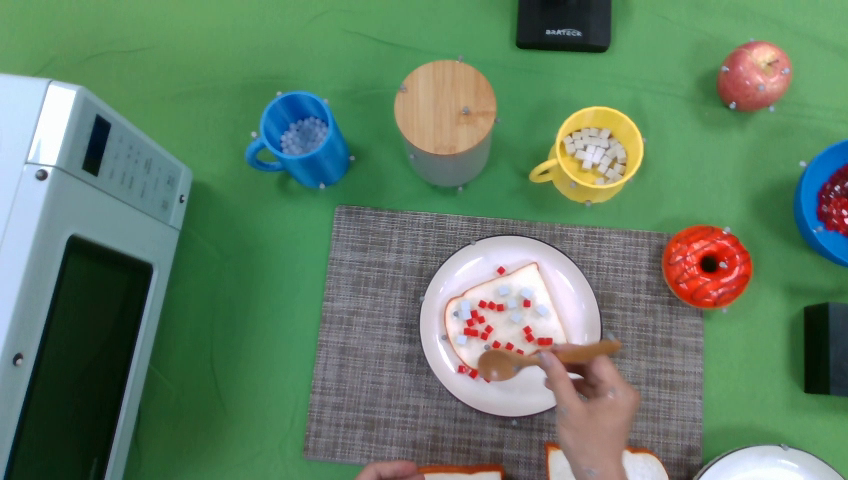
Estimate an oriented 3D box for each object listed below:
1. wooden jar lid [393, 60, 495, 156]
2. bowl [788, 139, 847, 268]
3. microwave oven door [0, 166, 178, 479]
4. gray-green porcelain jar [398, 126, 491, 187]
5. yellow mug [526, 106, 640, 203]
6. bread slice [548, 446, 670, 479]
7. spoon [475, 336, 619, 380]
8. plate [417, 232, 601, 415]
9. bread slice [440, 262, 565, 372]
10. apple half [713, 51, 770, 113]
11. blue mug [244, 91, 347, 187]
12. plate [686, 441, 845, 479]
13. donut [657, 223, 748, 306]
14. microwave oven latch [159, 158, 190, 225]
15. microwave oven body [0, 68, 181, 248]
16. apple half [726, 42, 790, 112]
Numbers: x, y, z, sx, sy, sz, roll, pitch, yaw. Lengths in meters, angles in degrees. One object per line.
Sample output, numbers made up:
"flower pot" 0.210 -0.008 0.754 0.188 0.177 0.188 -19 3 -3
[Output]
"wooden jar lid" 0.021 -0.139 0.647 0.108 0.021 0.108 -1 76 3
"bowl" 0.483 -0.033 0.693 0.151 0.077 0.150 -1 79 3
"microwave oven door" -0.350 0.131 0.595 0.039 0.245 0.354 8 79 5
"gray-green porcelain jar" 0.024 -0.125 0.708 0.106 0.127 0.105 0 78 3
"yellow mug" 0.185 -0.096 0.726 0.131 0.064 0.099 -18 78 0
"bread slice" 0.201 0.276 0.640 0.135 0.018 0.106 0 75 -14
"spoon" 0.116 0.118 0.602 0.021 0.193 0.042 -40 98 -34
"plate" 0.096 0.095 0.701 0.207 0.039 0.206 0 78 3
"bread slice" 0.086 0.095 0.703 0.131 0.019 0.104 -21 78 -3
"apple half" 0.371 -0.182 0.729 0.033 0.081 0.081 -27 78 -8
"blue mug" -0.157 -0.112 0.724 0.116 0.106 0.082 -20 78 -1
"plate" 0.366 0.321 0.646 0.209 0.038 0.208 -1 78 3
"donut" 0.321 0.029 0.701 0.099 0.048 0.098 -1 79 3
"microwave oven latch" -0.308 -0.060 0.736 0.030 0.029 0.079 10 80 4
"microwave oven body" -0.487 0.070 0.619 0.326 0.261 0.440 8 79 4
"apple half" 0.405 -0.200 0.733 0.053 0.075 0.080 -26 74 -8
